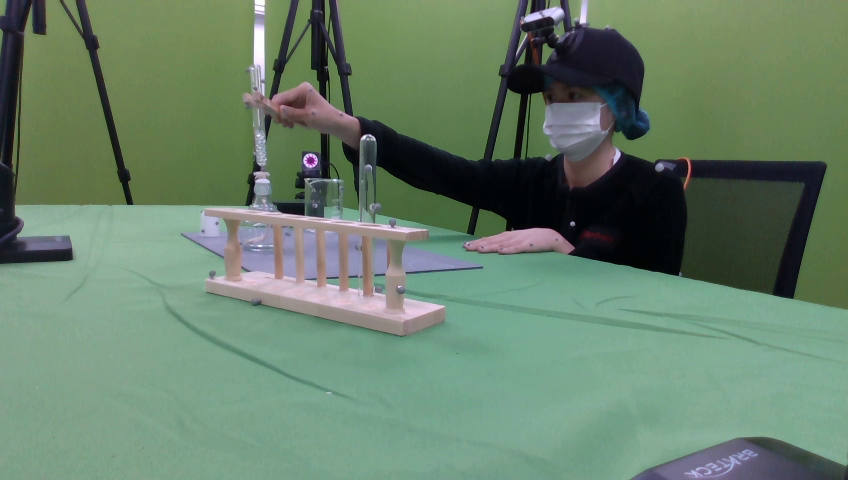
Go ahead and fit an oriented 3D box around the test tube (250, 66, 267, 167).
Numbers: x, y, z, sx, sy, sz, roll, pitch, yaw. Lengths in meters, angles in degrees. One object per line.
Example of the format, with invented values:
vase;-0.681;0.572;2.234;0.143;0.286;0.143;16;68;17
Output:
test tube;-0.242;-0.181;0.882;0.017;0.150;0.017;-5;-6;0

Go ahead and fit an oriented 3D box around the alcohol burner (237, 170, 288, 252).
alcohol burner;-0.236;-0.042;0.882;0.078;0.119;0.078;2;9;0

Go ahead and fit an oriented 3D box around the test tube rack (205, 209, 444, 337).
test tube rack;-0.100;0.021;0.565;0.241;0.085;0.067;7;9;32

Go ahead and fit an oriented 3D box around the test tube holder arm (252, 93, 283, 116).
test tube holder arm;-0.233;-0.202;0.906;0.010;0.015;0.088;-5;-4;10

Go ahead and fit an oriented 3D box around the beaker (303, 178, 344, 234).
beaker;-0.189;-0.063;1.119;0.073;0.100;0.084;6;9;28

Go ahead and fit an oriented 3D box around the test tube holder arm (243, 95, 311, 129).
test tube holder arm;-0.227;-0.199;0.951;0.013;0.015;0.179;-5;-4;17

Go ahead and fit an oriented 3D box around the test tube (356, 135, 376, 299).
test tube;-0.053;-0.019;0.550;0.017;0.150;0.017;2;9;0

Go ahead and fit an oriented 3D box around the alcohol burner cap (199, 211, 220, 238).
alcohol burner cap;-0.356;-0.027;1.002;0.034;0.048;0.034;2;7;0
